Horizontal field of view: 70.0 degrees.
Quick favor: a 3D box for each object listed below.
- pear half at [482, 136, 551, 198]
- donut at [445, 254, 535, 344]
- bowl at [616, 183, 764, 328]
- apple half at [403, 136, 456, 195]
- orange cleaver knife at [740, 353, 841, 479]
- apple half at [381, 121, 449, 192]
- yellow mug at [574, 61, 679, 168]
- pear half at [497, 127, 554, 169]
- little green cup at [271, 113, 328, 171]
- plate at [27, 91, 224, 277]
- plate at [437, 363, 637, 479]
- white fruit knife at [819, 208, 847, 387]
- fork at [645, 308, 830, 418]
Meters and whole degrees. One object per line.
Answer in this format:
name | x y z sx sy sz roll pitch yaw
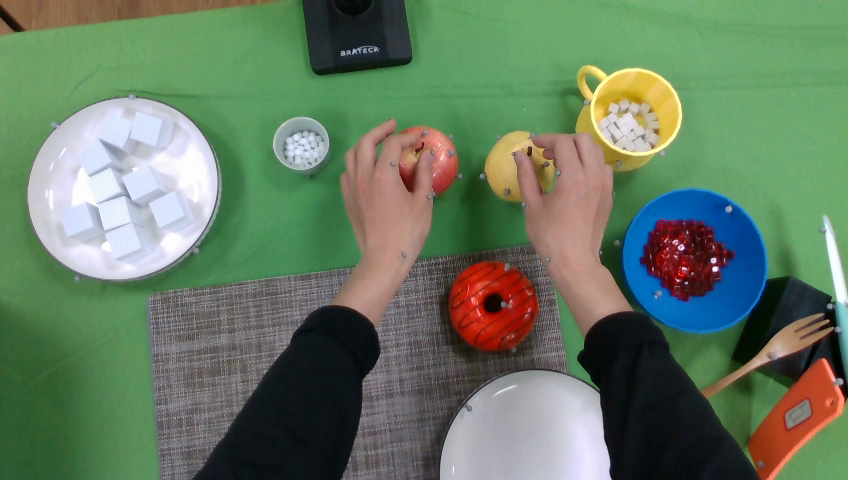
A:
pear half | 0.098 -0.077 0.651 0.076 0.110 0.056 24 83 5
donut | 0.071 0.064 0.659 0.099 0.048 0.099 0 85 -1
bowl | 0.274 0.021 0.658 0.151 0.077 0.151 0 82 -2
apple half | 0.013 -0.073 0.666 0.032 0.081 0.081 42 83 9
orange cleaver knife | 0.360 0.211 0.632 0.012 0.077 0.212 25 111 1
apple half | -0.016 -0.098 0.670 0.053 0.075 0.081 42 86 9
yellow mug | 0.217 -0.150 0.687 0.100 0.064 0.130 -39 83 -6
pear half | 0.115 -0.106 0.666 0.070 0.088 0.031 23 83 7
little green cup | -0.138 -0.108 0.686 0.061 0.039 0.061 0 82 -1
plate | -0.325 -0.060 0.674 0.208 0.039 0.207 0 82 -1
plate | 0.117 0.234 0.640 0.209 0.038 0.208 0 82 -2
white fruit knife | 0.438 0.067 0.638 0.027 0.016 0.206 0 79 -30
fork | 0.324 0.134 0.639 0.207 0.018 0.028 -37 91 14
